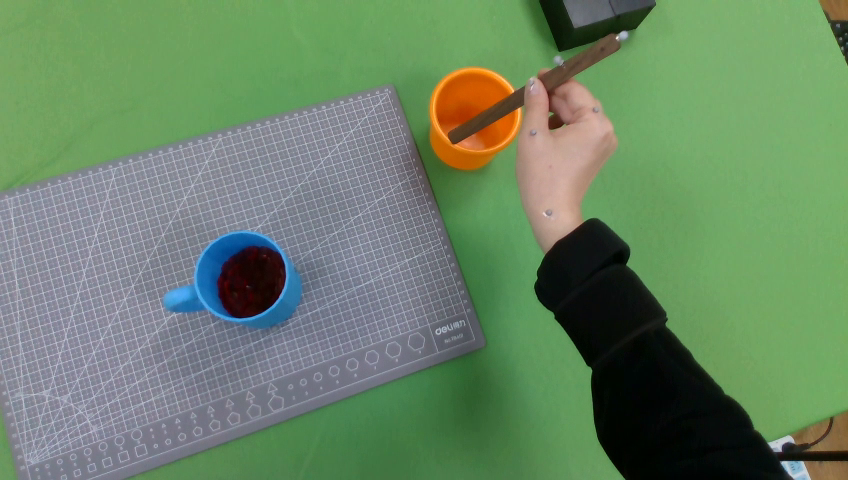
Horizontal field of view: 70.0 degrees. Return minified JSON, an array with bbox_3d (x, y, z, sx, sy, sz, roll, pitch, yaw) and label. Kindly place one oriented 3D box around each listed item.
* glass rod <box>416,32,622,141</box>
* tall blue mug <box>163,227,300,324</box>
[{"bbox_3d":[0.069,-0.123,0.504,0.008,0.199,0.008,27,53,-43],"label":"glass rod"},{"bbox_3d":[-0.168,0.046,0.548,0.107,0.108,0.077,-42,87,-12],"label":"tall blue mug"}]
